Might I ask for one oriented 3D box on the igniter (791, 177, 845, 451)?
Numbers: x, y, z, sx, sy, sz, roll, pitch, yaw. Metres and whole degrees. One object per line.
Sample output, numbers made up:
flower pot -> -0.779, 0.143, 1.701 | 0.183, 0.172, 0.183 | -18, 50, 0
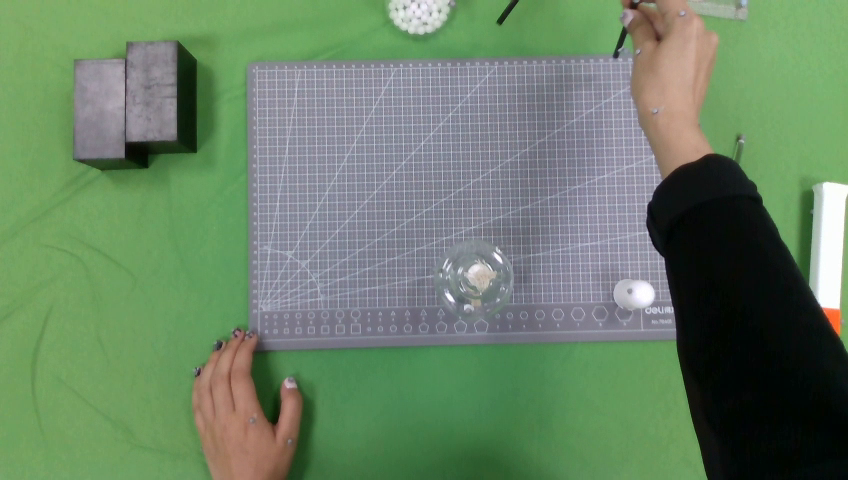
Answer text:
igniter -> 0.400, 0.074, 0.613 | 0.057, 0.025, 0.276 | 7, 86, -11

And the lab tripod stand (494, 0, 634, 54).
lab tripod stand -> 0.141, -0.245, 0.543 | 0.148, 0.131, 0.148 | 0, 86, -2

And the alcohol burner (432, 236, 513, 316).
alcohol burner -> 0.047, 0.032, 0.567 | 0.078, 0.119, 0.077 | 0, 83, -1

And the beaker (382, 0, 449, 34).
beaker -> -0.007, -0.253, 0.595 | 0.084, 0.100, 0.074 | 44, 87, 2

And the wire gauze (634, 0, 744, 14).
wire gauze -> 0.284, -0.306, 0.646 | 0.125, 0.011, 0.121 | 6, 86, 2

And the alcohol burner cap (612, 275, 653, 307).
alcohol burner cap -> 0.209, 0.051, 0.602 | 0.034, 0.048, 0.034 | 0, 85, 1

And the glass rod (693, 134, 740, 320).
glass rod -> 0.303, -0.015, 0.628 | 0.008, 0.008, 0.199 | 15, 86, 0
